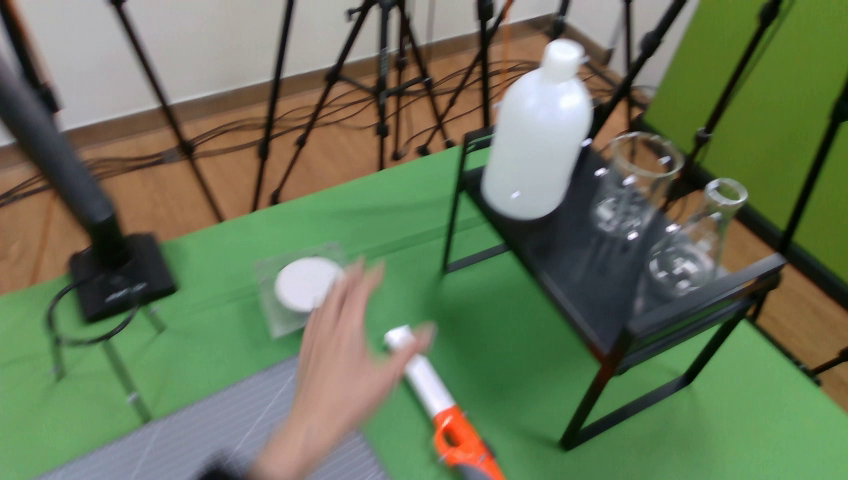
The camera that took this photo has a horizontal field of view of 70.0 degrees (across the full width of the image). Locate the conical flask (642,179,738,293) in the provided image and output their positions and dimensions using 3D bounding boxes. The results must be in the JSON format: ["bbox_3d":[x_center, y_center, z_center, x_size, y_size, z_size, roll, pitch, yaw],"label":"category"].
[{"bbox_3d":[0.286,-0.007,0.639,0.075,0.123,0.074,4,47,-3],"label":"conical flask"}]

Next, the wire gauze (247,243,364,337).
[{"bbox_3d":[-0.154,0.057,0.781,0.122,0.011,0.123,-16,51,-21],"label":"wire gauze"}]

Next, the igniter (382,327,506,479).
[{"bbox_3d":[0.027,0.211,0.715,0.057,0.025,0.273,-13,49,-32],"label":"igniter"}]

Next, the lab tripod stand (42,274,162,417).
[{"bbox_3d":[-0.354,0.116,0.683,0.148,0.132,0.147,5,47,-5],"label":"lab tripod stand"}]

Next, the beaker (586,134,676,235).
[{"bbox_3d":[0.231,-0.062,0.699,0.083,0.101,0.074,35,53,24],"label":"beaker"}]

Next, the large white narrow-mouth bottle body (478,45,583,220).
[{"bbox_3d":[0.121,-0.121,0.673,0.102,0.196,0.101,4,47,-3],"label":"large white narrow-mouth bottle body"}]

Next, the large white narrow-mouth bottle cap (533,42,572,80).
[{"bbox_3d":[0.129,-0.181,0.611,0.038,0.024,0.037,4,47,-4],"label":"large white narrow-mouth bottle cap"}]
